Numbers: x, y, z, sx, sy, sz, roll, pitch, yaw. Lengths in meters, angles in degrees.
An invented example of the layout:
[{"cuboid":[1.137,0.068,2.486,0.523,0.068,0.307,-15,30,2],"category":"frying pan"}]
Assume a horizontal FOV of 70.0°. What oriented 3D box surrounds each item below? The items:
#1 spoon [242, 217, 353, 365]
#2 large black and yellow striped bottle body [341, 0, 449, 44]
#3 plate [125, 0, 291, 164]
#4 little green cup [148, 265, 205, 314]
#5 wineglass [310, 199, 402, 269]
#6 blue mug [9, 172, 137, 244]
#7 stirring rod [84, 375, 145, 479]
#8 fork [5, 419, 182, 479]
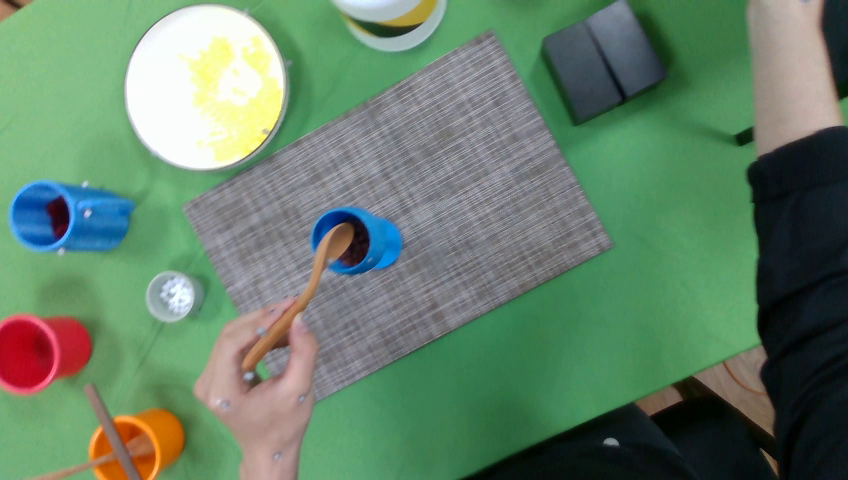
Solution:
[{"cuboid":[-0.095,0.034,0.486,0.021,0.192,0.042,19,122,1],"category":"spoon"},{"cuboid":[-0.042,-0.305,0.657,0.130,0.184,0.130,0,90,7],"category":"large black and yellow striped bottle body"},{"cuboid":[-0.264,-0.196,0.755,0.209,0.038,0.209,0,91,6],"category":"plate"},{"cuboid":[-0.308,0.061,0.761,0.061,0.038,0.061,0,91,6],"category":"little green cup"},{"cuboid":[-0.069,-0.005,0.663,0.073,0.172,0.073,0,89,7],"category":"wineglass"},{"cuboid":[-0.412,-0.041,0.737,0.116,0.106,0.082,-14,88,6],"category":"blue mug"},{"cuboid":[-0.355,0.239,0.709,0.014,0.006,0.176,-28,87,6],"category":"stirring rod"},{"cuboid":[-0.394,0.256,0.715,0.208,0.018,0.028,-12,94,-37],"category":"fork"}]
